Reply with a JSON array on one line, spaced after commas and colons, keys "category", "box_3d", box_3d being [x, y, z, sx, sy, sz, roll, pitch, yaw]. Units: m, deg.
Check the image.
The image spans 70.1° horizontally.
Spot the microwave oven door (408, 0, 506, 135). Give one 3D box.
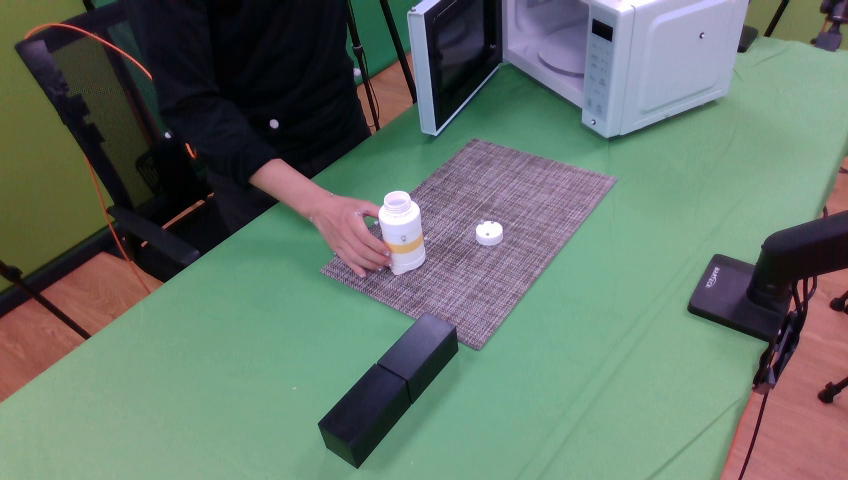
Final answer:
[{"category": "microwave oven door", "box_3d": [0.080, -0.413, 1.241, 0.039, 0.245, 0.356, 10, 44, 25]}]

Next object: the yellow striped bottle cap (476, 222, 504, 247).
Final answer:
[{"category": "yellow striped bottle cap", "box_3d": [0.105, -0.010, 0.966, 0.044, 0.019, 0.044, -4, 39, 3]}]

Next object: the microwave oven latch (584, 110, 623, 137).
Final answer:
[{"category": "microwave oven latch", "box_3d": [0.337, -0.222, 1.142, 0.030, 0.029, 0.078, -21, 42, -14]}]

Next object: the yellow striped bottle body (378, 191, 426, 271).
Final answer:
[{"category": "yellow striped bottle body", "box_3d": [-0.033, -0.016, 0.910, 0.063, 0.121, 0.062, -4, 41, 4]}]

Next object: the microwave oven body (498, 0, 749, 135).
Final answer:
[{"category": "microwave oven body", "box_3d": [0.382, -0.444, 1.246, 0.327, 0.261, 0.437, -22, 42, -16]}]
